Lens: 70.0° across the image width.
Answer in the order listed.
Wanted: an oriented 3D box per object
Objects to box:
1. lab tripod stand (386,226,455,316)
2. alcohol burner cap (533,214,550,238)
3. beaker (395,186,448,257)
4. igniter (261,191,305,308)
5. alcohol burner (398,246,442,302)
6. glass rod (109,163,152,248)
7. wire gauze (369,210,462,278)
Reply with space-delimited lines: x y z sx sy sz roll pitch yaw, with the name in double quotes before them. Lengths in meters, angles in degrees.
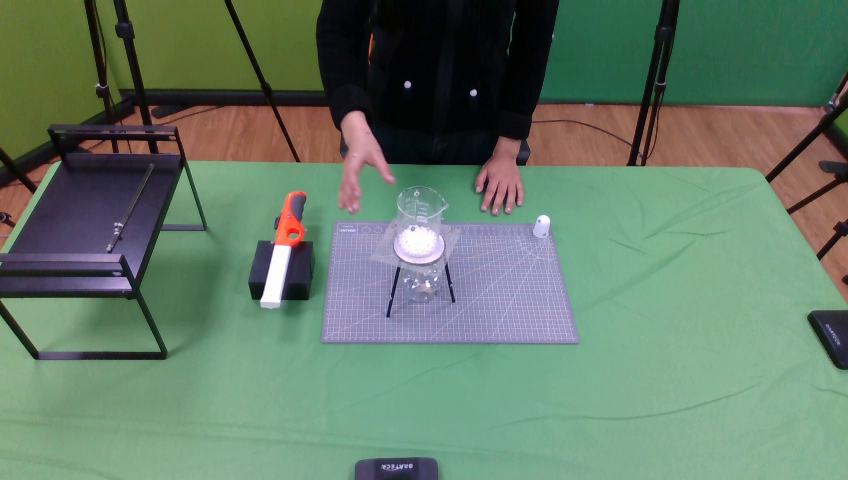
"lab tripod stand" -0.013 0.054 1.064 0.148 0.132 0.147 2 48 -2
"alcohol burner cap" 0.240 -0.031 1.228 0.034 0.048 0.033 1 46 -1
"beaker" -0.007 -0.027 0.984 0.084 0.101 0.073 1 48 -4
"igniter" -0.255 0.007 1.103 0.057 0.025 0.275 5 47 -4
"alcohol burner" -0.006 0.055 1.078 0.078 0.119 0.077 3 44 -3
"glass rod" -0.472 -0.061 0.979 0.008 0.008 0.198 2 46 -2
"wire gauze" -0.012 0.007 1.019 0.121 0.011 0.124 16 51 13
